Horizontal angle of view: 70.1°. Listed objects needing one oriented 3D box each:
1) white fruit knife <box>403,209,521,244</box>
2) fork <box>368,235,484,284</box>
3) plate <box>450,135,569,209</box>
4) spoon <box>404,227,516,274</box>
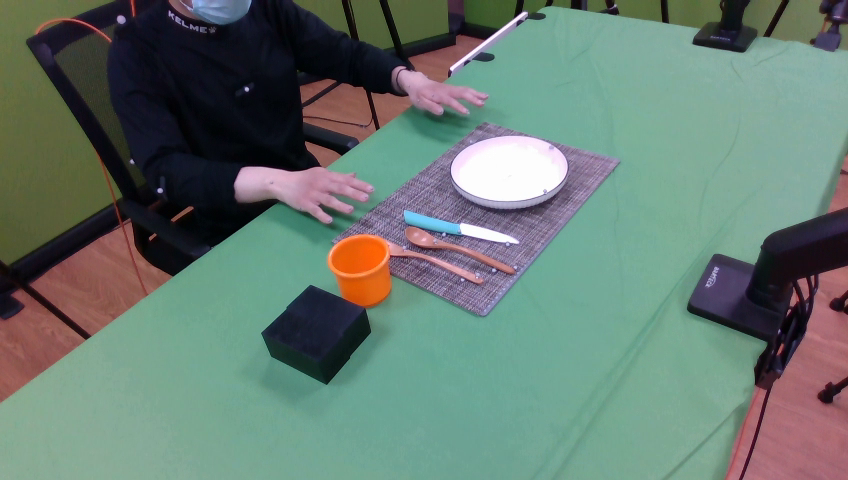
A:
[{"bbox_3d":[0.057,-0.019,0.981,0.206,0.016,0.027,13,57,20],"label":"white fruit knife"},{"bbox_3d":[0.001,0.030,0.930,0.206,0.019,0.028,18,38,29],"label":"fork"},{"bbox_3d":[0.149,-0.117,1.065,0.209,0.038,0.208,-3,41,3],"label":"plate"},{"bbox_3d":[0.053,0.016,0.936,0.192,0.022,0.042,18,30,27],"label":"spoon"}]
